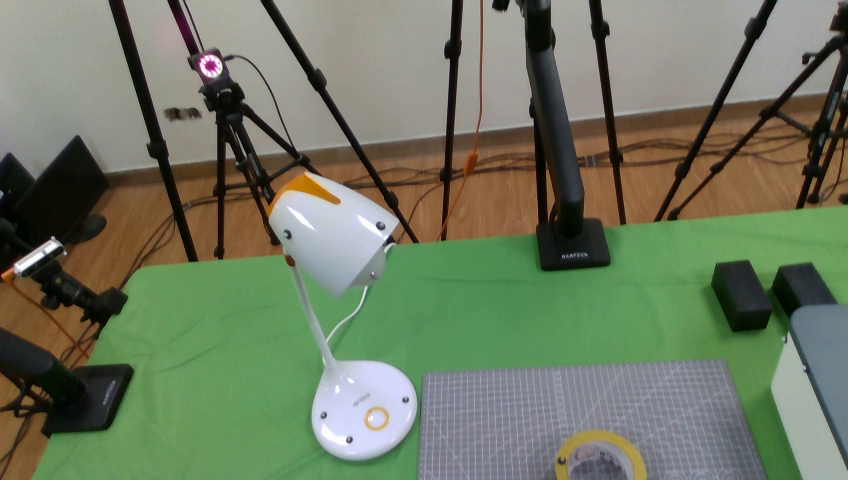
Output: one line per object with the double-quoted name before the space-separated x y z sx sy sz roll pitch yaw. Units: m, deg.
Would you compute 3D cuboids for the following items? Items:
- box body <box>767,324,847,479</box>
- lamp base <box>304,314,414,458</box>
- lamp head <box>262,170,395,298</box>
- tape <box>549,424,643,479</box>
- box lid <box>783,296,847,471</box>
"box body" 0.573 0.251 0.671 0.254 0.162 0.360 -4 45 8
"lamp base" -0.115 0.193 0.864 0.177 0.182 0.160 26 56 35
"lamp head" -0.110 -0.014 0.647 0.123 0.113 0.112 35 55 -2
"tape" 0.220 0.298 0.776 0.117 0.053 0.115 -5 45 6
"box lid" 0.562 0.198 0.621 0.263 0.015 0.368 -4 45 8
